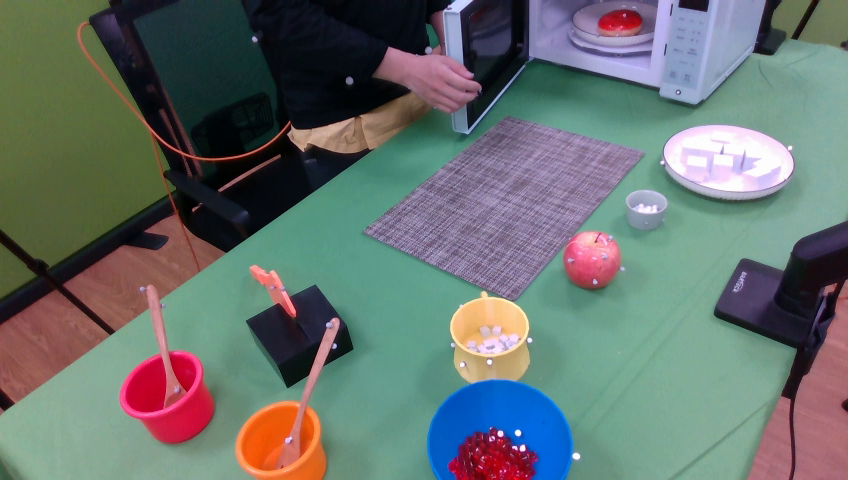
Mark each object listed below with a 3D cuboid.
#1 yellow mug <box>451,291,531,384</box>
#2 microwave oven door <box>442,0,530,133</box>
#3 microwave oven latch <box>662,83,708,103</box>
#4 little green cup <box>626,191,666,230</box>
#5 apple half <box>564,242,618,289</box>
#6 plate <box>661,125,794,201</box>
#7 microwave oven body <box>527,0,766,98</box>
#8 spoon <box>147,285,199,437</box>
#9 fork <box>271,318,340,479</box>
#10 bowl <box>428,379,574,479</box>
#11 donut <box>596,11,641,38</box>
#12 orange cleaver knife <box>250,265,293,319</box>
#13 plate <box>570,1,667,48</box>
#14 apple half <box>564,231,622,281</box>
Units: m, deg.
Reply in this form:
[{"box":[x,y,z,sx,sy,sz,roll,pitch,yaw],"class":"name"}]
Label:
[{"box":[0.085,0.120,0.786,0.100,0.064,0.130,-7,39,1],"class":"yellow mug"},{"box":[0.139,-0.413,1.243,0.039,0.245,0.356,15,45,24],"class":"microwave oven door"},{"box":[0.518,-0.296,1.204,0.078,0.029,0.030,28,52,35],"class":"microwave oven latch"},{"box":[0.352,-0.046,0.963,0.061,0.039,0.061,-4,40,4],"class":"little green cup"},{"box":[0.229,0.044,0.848,0.081,0.081,0.033,16,41,26],"class":"apple half"},{"box":[0.514,-0.128,1.035,0.207,0.039,0.206,-4,40,4],"class":"plate"},{"box":[0.472,-0.513,1.317,0.438,0.261,0.327,25,51,34],"class":"microwave oven body"},{"box":[-0.318,0.148,0.754,0.042,0.021,0.193,-14,85,-12],"class":"spoon"},{"box":[-0.132,0.186,0.676,0.028,0.019,0.207,18,90,28],"class":"fork"},{"box":[0.082,0.233,0.644,0.151,0.077,0.150,-4,39,4],"class":"bowl"},{"box":[0.433,-0.479,1.347,0.099,0.048,0.098,-6,39,5],"class":"donut"},{"box":[-0.221,0.073,0.876,0.012,0.077,0.210,-24,12,-22],"class":"orange cleaver knife"},{"box":[0.437,-0.484,1.368,0.209,0.038,0.208,-5,41,4],"class":"plate"},{"box":[0.248,0.021,0.874,0.080,0.075,0.053,13,40,28],"class":"apple half"}]
